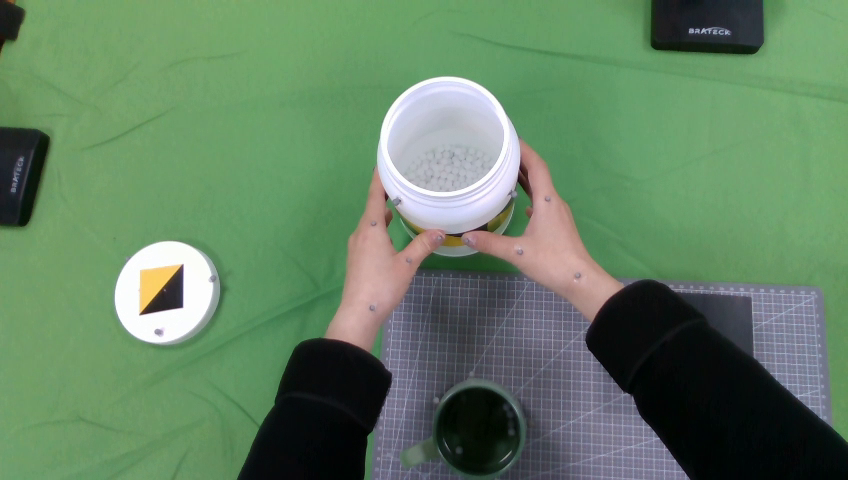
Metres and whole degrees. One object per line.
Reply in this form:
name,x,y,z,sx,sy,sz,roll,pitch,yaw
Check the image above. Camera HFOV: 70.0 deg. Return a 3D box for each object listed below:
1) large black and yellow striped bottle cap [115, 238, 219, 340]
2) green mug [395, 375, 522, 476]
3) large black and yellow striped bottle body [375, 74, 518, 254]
large black and yellow striped bottle cap,-0.288,0.054,0.678,0.115,0.019,0.114,-1,76,5
green mug,0.032,0.180,0.571,0.125,0.105,0.092,-22,76,0
large black and yellow striped bottle body,0.024,-0.068,0.591,0.130,0.185,0.130,-1,76,5
